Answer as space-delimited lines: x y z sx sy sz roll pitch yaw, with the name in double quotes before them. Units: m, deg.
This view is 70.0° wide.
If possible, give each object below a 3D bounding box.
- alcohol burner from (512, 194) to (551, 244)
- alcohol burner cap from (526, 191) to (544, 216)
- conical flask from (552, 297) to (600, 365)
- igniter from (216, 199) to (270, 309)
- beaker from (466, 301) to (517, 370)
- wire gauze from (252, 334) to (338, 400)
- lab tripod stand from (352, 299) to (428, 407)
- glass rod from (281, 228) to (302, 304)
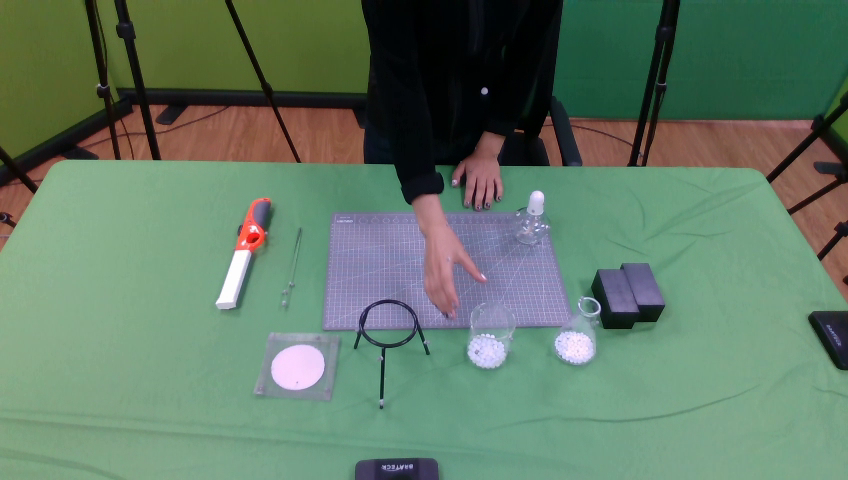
"alcohol burner" 0.215 -0.048 1.196 0.078 0.119 0.077 4 46 -4
"alcohol burner cap" 0.216 -0.073 1.170 0.034 0.048 0.033 0 42 1
"conical flask" 0.261 0.147 1.009 0.075 0.122 0.075 2 46 -2
"igniter" -0.341 0.016 1.153 0.057 0.025 0.275 -3 45 7
"beaker" 0.106 0.162 0.998 0.084 0.101 0.073 -31 55 -29
"wire gauze" -0.209 0.204 0.996 0.125 0.011 0.120 3 45 1
"lab tripod stand" -0.056 0.166 0.958 0.148 0.132 0.147 3 44 -2
"glass rod" -0.250 0.045 1.146 0.008 0.008 0.198 3 43 -1
